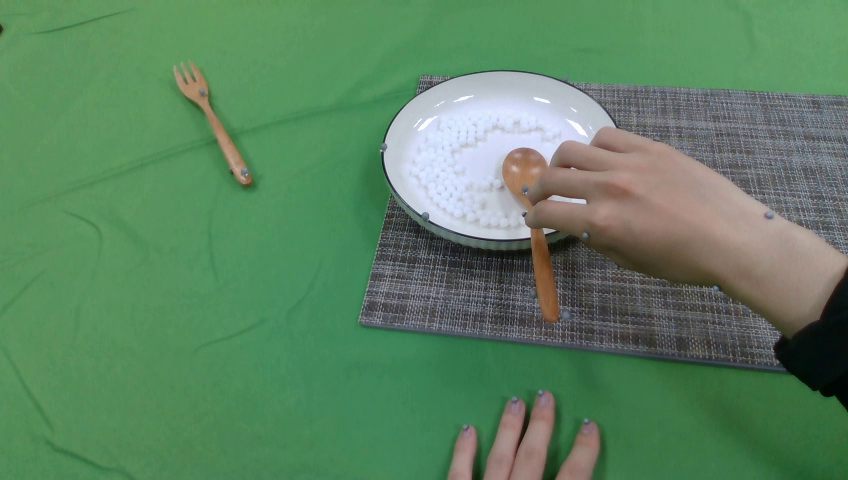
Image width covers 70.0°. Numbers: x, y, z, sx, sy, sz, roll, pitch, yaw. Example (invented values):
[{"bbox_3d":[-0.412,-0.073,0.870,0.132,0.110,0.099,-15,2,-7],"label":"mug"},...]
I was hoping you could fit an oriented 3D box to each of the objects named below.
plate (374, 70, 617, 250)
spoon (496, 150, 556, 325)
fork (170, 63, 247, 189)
[{"bbox_3d":[0.061,-0.071,0.535,0.207,0.039,0.205,-2,53,3],"label":"plate"},{"bbox_3d":[0.081,-0.011,0.468,0.041,0.022,0.192,-1,40,2],"label":"spoon"},{"bbox_3d":[-0.216,-0.118,0.605,0.028,0.019,0.205,-22,53,-21],"label":"fork"}]
